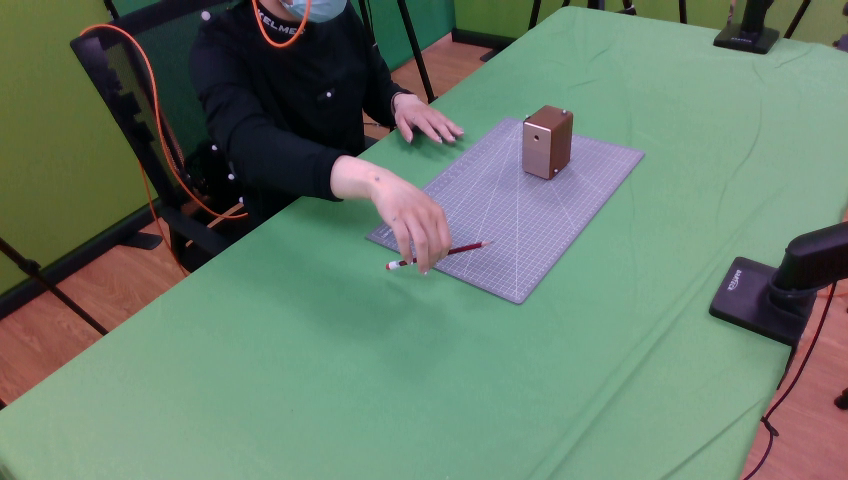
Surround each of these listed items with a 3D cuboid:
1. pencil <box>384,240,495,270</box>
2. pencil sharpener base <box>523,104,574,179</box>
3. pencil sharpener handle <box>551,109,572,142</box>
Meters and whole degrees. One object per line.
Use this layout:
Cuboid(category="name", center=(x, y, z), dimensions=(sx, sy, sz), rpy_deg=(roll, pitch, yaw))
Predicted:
Cuboid(category="pencil", center=(0.019, 0.021, 0.864), dimensions=(0.193, 0.012, 0.012), rpy_deg=(-15, 32, 34))
Cuboid(category="pencil sharpener base", center=(0.220, -0.175, 1.071), dimensions=(0.061, 0.107, 0.077), rpy_deg=(26, 50, 33))
Cuboid(category="pencil sharpener handle", center=(0.253, -0.212, 1.090), dimensions=(0.035, 0.068, 0.031), rpy_deg=(22, 48, 36))
